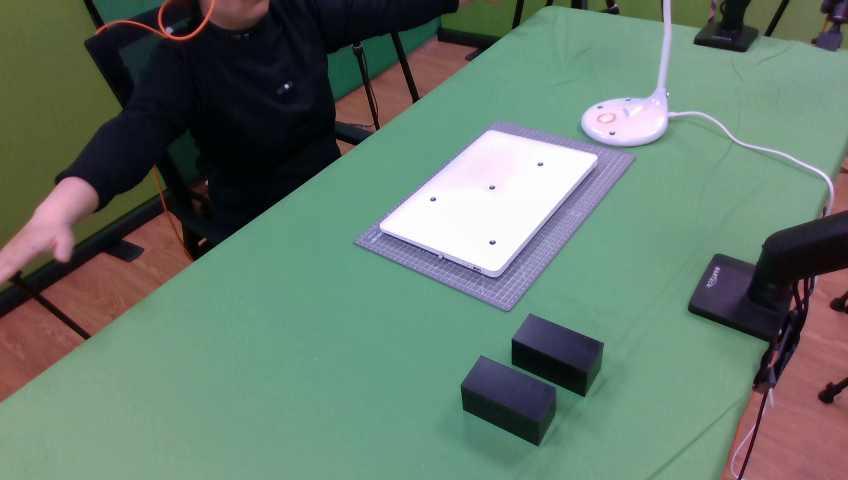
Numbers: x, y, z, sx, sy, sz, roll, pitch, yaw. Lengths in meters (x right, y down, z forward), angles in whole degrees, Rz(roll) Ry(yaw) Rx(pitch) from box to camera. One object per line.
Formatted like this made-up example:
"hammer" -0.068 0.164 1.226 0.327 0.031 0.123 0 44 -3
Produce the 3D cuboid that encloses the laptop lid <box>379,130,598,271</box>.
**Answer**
"laptop lid" 0.117 -0.087 1.037 0.240 0.013 0.358 22 48 33

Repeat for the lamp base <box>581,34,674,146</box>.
"lamp base" 0.392 -0.291 1.129 0.180 0.181 0.159 -11 41 -8

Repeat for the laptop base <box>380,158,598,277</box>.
"laptop base" 0.120 -0.077 1.043 0.233 0.023 0.355 20 47 32
